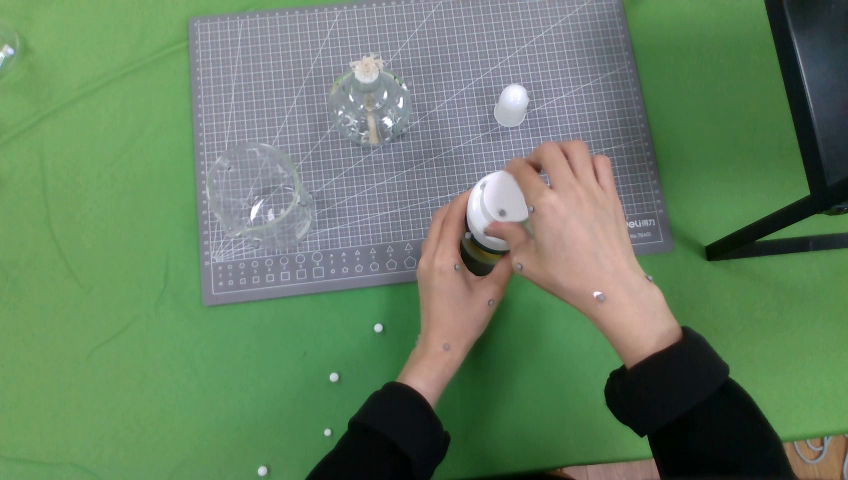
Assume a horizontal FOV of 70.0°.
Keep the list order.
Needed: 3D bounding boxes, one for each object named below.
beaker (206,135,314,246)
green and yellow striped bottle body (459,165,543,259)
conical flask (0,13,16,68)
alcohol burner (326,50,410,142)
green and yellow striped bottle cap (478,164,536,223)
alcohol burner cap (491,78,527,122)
[{"bbox_3d":[-0.140,-0.035,0.534,0.074,0.100,0.083,21,79,4],"label":"beaker"},{"bbox_3d":[0.065,-0.024,0.527,0.063,0.120,0.063,0,78,-1],"label":"green and yellow striped bottle body"},{"bbox_3d":[-0.445,-0.208,0.552,0.075,0.122,0.075,0,78,-1],"label":"conical flask"},{"bbox_3d":[-0.052,-0.136,0.550,0.078,0.119,0.077,1,77,-3],"label":"alcohol burner"},{"bbox_3d":[0.065,-0.037,0.476,0.045,0.020,0.045,0,80,-2],"label":"green and yellow striped bottle cap"},{"bbox_3d":[0.085,-0.139,0.591,0.034,0.048,0.033,0,78,-2],"label":"alcohol burner cap"}]
